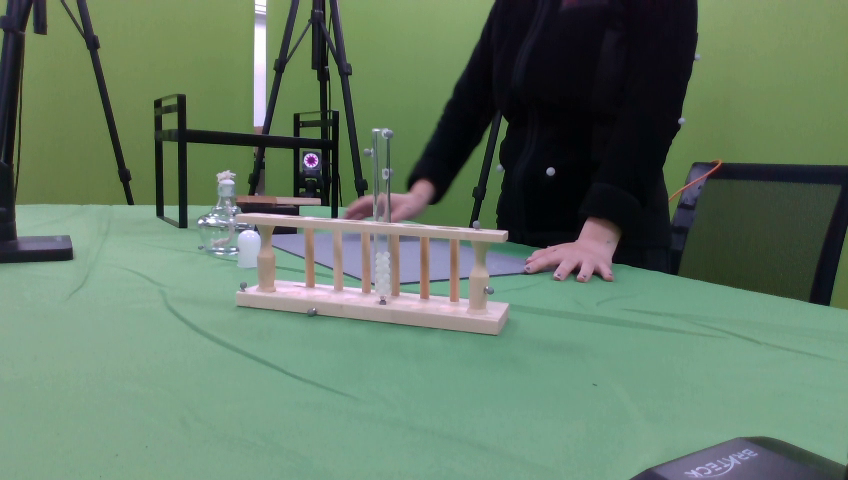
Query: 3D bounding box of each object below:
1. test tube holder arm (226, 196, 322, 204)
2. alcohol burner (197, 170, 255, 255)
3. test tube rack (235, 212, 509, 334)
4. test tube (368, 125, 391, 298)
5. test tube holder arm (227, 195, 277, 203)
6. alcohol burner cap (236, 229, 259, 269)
[{"bbox_3d":[-0.273,-0.075,1.117,0.179,0.015,0.013,-2,-8,-33],"label":"test tube holder arm"},{"bbox_3d":[-0.280,-0.039,0.856,0.078,0.119,0.078,2,9,0],"label":"alcohol burner"},{"bbox_3d":[-0.046,0.023,0.547,0.242,0.085,0.067,4,7,15],"label":"test tube rack"},{"bbox_3d":[-0.038,-0.023,0.519,0.017,0.150,0.017,-1,12,0],"label":"test tube"},{"bbox_3d":[-0.308,-0.074,1.088,0.088,0.015,0.010,-2,-8,-34],"label":"test tube holder arm"},{"bbox_3d":[-0.220,0.010,0.759,0.034,0.048,0.034,0,12,0],"label":"alcohol burner cap"}]
